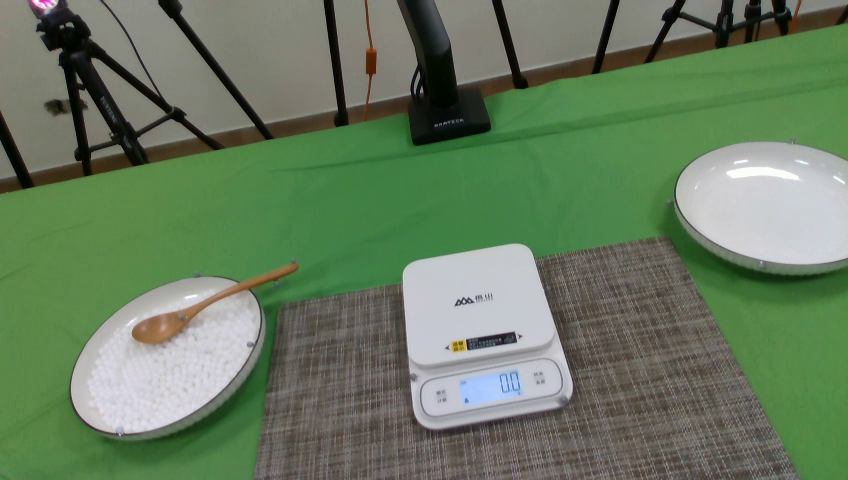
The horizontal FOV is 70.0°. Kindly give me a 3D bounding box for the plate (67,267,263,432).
[{"bbox_3d":[-0.272,0.117,0.655,0.209,0.038,0.207,-6,44,7],"label":"plate"}]

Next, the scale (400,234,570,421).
[{"bbox_3d":[0.053,0.079,0.611,0.148,0.032,0.198,-11,44,3],"label":"scale"}]

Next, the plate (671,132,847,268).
[{"bbox_3d":[0.378,-0.043,0.658,0.207,0.039,0.205,-7,43,7],"label":"plate"}]

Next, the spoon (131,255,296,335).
[{"bbox_3d":[-0.235,0.059,0.683,0.194,0.022,0.041,-26,44,-3],"label":"spoon"}]
